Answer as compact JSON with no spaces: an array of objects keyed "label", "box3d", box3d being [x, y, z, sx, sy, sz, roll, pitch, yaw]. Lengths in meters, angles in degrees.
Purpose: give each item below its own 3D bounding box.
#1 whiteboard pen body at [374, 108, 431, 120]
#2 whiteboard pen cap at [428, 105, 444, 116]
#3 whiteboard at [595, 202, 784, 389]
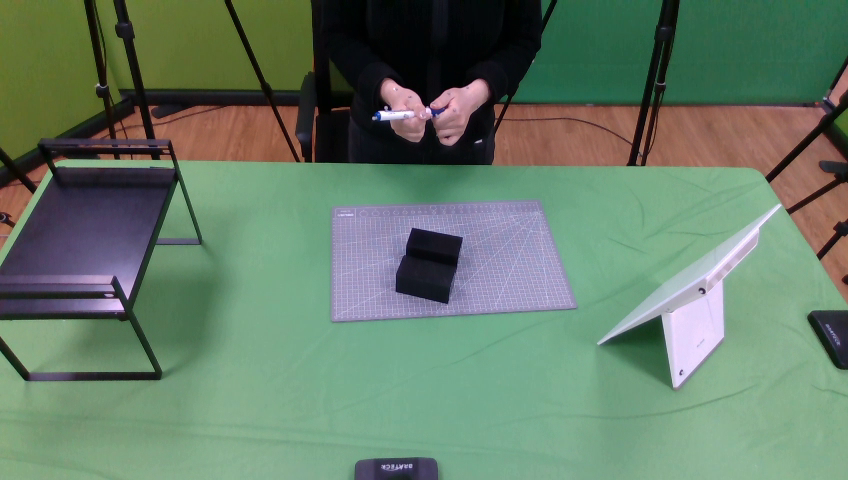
[{"label":"whiteboard pen body","box3d":[-0.027,-0.225,1.075,0.141,0.017,0.017,-13,47,-34]},{"label":"whiteboard pen cap","box3d":[0.020,-0.237,1.108,0.033,0.018,0.018,-17,49,-34]},{"label":"whiteboard","box3d":[0.459,0.112,0.968,0.217,0.306,0.143,-31,74,-29]}]
